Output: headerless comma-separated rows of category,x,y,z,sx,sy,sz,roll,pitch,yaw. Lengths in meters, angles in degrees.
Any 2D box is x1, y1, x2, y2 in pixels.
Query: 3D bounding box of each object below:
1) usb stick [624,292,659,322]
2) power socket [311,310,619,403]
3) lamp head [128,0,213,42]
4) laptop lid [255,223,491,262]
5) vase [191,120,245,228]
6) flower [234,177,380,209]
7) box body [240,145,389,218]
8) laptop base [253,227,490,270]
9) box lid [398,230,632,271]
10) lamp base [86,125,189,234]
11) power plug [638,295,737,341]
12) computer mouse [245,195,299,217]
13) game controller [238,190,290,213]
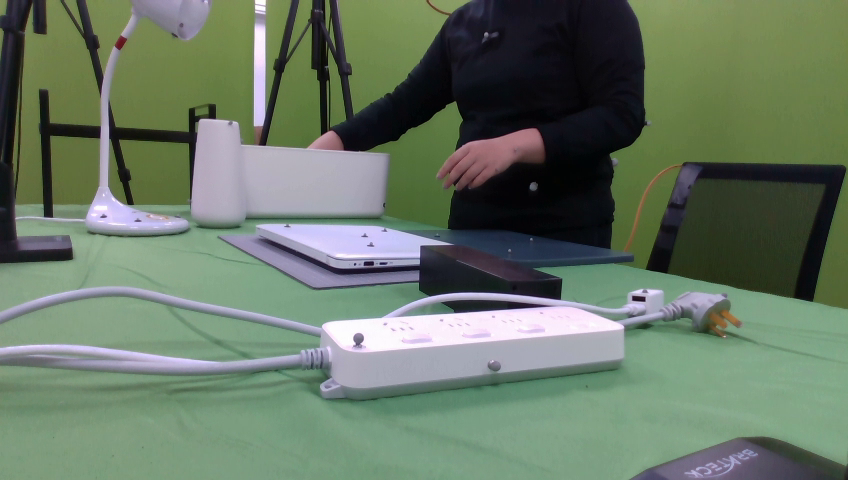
usb stick,0.211,0.064,0.580,0.021,0.027,0.059,-2,-4,36
power socket,0.034,0.074,0.415,0.228,0.032,0.072,-1,7,-24
lamp head,-0.423,-0.394,0.980,0.123,0.112,0.112,20,7,-3
laptop lid,-0.093,0.000,0.911,0.243,0.013,0.355,1,7,-30
vase,-0.389,-0.124,1.142,0.098,0.200,0.098,3,9,0
flower,-0.260,-0.100,1.412,0.364,0.038,0.044,8,-21,-34
box body,-0.297,-0.143,1.474,0.366,0.160,0.253,-1,9,-30
laptop base,-0.096,0.012,0.911,0.237,0.023,0.352,3,6,-32
box lid,0.140,0.012,1.045,0.265,0.015,0.369,-1,9,-32
lamp base,-0.497,-0.105,1.027,0.179,0.180,0.160,1,7,2
power plug,0.235,0.077,0.535,0.072,0.035,0.052,-34,40,-6
computer mouse,-0.344,-0.078,1.368,0.118,0.041,0.062,-12,16,-30
game controller,-0.391,-0.094,1.465,0.097,0.051,0.154,-3,8,-29
